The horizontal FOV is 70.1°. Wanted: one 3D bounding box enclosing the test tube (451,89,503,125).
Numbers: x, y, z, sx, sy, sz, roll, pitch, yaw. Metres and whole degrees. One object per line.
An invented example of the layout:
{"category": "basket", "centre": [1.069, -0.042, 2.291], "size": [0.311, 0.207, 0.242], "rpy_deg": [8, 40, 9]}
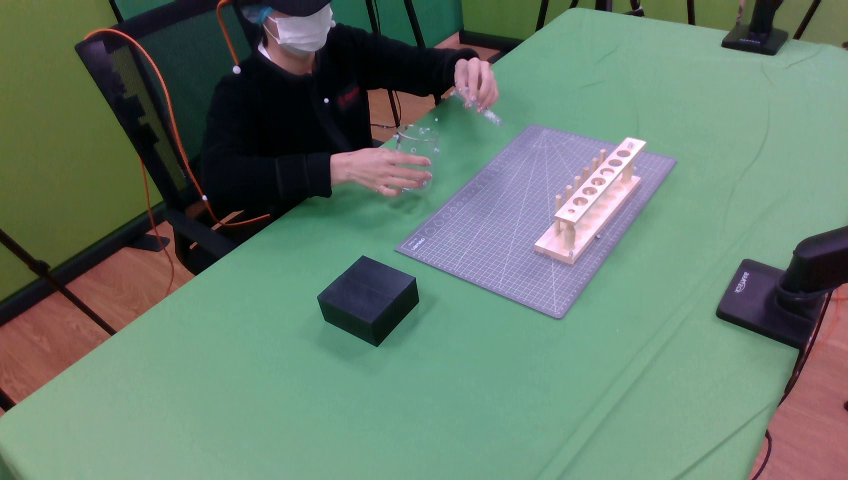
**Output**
{"category": "test tube", "centre": [0.096, -0.230, 1.055], "size": [0.017, 0.017, 0.151], "rpy_deg": [33, 10, 38]}

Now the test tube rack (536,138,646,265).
{"category": "test tube rack", "centre": [0.268, -0.071, 0.964], "size": [0.066, 0.085, 0.243], "rpy_deg": [23, 49, 32]}

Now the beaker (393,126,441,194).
{"category": "beaker", "centre": [-0.014, -0.138, 1.039], "size": [0.074, 0.100, 0.084], "rpy_deg": [11, 28, 2]}
